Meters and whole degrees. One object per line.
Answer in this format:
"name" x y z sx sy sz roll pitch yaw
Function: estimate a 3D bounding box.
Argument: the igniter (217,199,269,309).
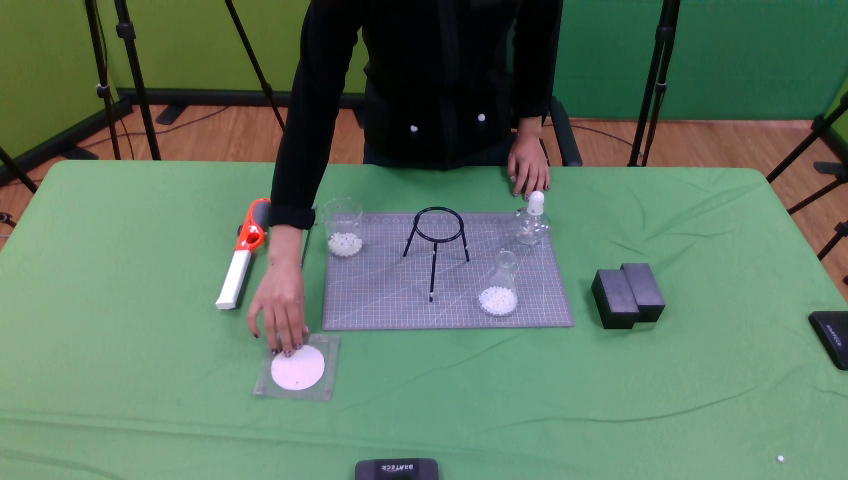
"igniter" -0.341 0.017 1.153 0.057 0.025 0.275 -4 45 6

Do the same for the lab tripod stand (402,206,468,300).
"lab tripod stand" 0.023 0.013 1.108 0.148 0.132 0.147 3 44 -2

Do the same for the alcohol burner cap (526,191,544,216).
"alcohol burner cap" 0.216 -0.072 1.170 0.034 0.048 0.033 -1 42 1

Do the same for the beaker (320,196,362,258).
"beaker" -0.156 -0.020 1.150 0.084 0.101 0.073 -30 55 -28

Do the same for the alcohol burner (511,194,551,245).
"alcohol burner" 0.215 -0.048 1.196 0.078 0.119 0.077 4 46 -4

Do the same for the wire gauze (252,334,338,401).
"wire gauze" -0.209 0.205 0.996 0.125 0.011 0.120 3 45 1

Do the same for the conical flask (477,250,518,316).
"conical flask" 0.136 0.073 1.067 0.075 0.122 0.075 2 46 -2

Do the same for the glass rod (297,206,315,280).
"glass rod" -0.232 0.001 1.191 0.008 0.008 0.198 2 46 -1
